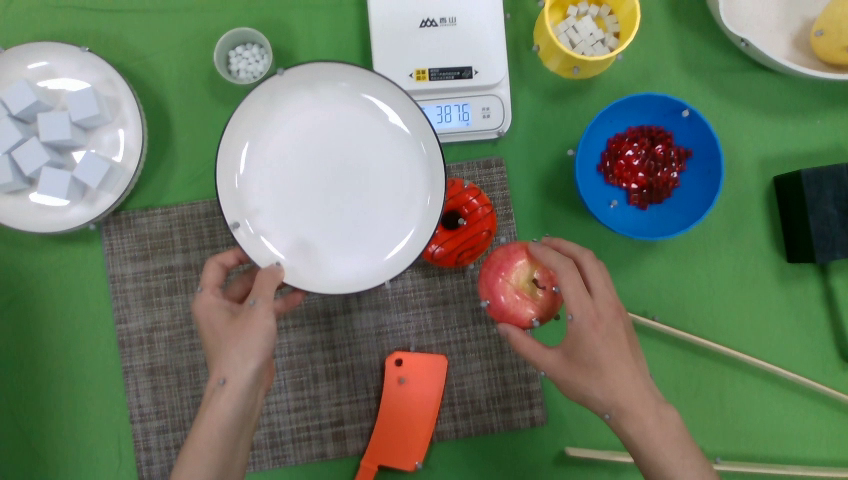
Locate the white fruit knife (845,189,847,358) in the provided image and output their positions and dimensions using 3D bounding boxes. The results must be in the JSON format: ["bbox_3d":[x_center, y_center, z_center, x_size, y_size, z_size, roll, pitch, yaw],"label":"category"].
[{"bbox_3d":[0.461,0.035,0.647,0.016,0.027,0.208,-11,103,-1],"label":"white fruit knife"}]

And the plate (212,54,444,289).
[{"bbox_3d":[-0.085,-0.061,0.555,0.209,0.038,0.209,0,101,0],"label":"plate"}]

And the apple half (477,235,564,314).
[{"bbox_3d":[0.094,0.025,0.556,0.081,0.075,0.053,37,82,0],"label":"apple half"}]

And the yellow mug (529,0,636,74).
[{"bbox_3d":[0.158,-0.250,0.653,0.100,0.064,0.131,-42,89,-1],"label":"yellow mug"}]

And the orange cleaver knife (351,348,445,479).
[{"bbox_3d":[-0.036,0.214,0.657,0.077,0.012,0.211,20,86,-7],"label":"orange cleaver knife"}]

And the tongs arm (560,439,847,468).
[{"bbox_3d":[0.343,0.221,0.662,0.385,0.026,0.050,6,83,-1],"label":"tongs arm"}]

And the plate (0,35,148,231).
[{"bbox_3d":[-0.398,-0.112,0.650,0.208,0.039,0.207,0,89,-1],"label":"plate"}]

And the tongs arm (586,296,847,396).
[{"bbox_3d":[0.361,0.136,0.669,0.388,0.028,0.028,21,80,0],"label":"tongs arm"}]

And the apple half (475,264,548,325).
[{"bbox_3d":[0.071,0.056,0.552,0.081,0.081,0.033,37,82,0],"label":"apple half"}]

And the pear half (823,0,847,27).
[{"bbox_3d":[0.470,-0.256,0.644,0.070,0.088,0.031,26,90,3],"label":"pear half"}]

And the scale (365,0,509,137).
[{"bbox_3d":[0.014,-0.215,0.666,0.149,0.031,0.200,-5,89,-1],"label":"scale"}]

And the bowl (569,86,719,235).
[{"bbox_3d":[0.222,-0.079,0.645,0.151,0.077,0.151,0,89,-1],"label":"bowl"}]

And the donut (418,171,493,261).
[{"bbox_3d":[0.024,-0.026,0.652,0.099,0.048,0.099,0,90,0],"label":"donut"}]

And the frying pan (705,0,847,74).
[{"bbox_3d":[0.490,-0.234,0.641,0.307,0.103,0.486,-36,82,-1],"label":"frying pan"}]

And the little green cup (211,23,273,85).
[{"bbox_3d":[-0.194,-0.198,0.657,0.061,0.038,0.061,0,88,-1],"label":"little green cup"}]

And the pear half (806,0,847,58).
[{"bbox_3d":[0.451,-0.226,0.633,0.076,0.110,0.056,28,89,3],"label":"pear half"}]
